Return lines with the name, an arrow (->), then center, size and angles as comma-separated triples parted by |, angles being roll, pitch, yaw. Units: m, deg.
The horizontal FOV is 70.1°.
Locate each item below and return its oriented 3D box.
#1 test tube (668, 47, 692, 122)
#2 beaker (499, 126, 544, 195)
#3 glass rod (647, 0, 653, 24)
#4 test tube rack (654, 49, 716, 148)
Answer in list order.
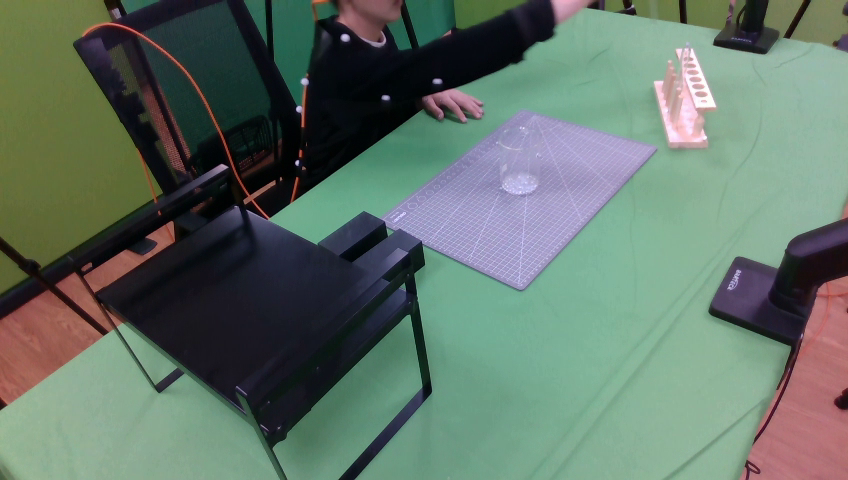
test tube -> 0.472, -0.285, 1.117 | 0.017, 0.151, 0.017 | -4, 44, 4
beaker -> 0.170, -0.136, 1.045 | 0.073, 0.101, 0.084 | 12, 44, 21
glass rod -> 0.382, -0.467, 1.043 | 0.008, 0.201, 0.008 | -15, 38, 13
test tube rack -> 0.502, -0.281, 1.176 | 0.066, 0.085, 0.241 | 1, 41, 11
